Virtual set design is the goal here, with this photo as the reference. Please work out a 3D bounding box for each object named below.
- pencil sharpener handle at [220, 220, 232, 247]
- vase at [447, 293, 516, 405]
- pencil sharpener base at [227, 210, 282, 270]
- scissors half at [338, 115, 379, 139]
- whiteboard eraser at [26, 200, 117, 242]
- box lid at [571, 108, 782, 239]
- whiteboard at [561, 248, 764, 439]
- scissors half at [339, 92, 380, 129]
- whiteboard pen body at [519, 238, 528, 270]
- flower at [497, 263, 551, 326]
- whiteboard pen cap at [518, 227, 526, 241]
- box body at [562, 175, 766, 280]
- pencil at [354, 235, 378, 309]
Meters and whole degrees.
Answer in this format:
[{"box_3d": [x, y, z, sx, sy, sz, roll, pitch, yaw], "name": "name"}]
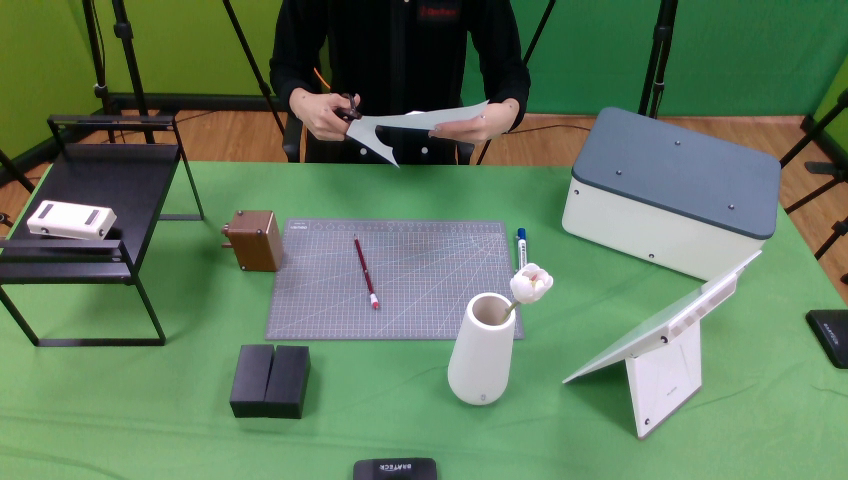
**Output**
[{"box_3d": [-0.362, -0.009, 1.105, 0.030, 0.068, 0.036, 1, 52, 1], "name": "pencil sharpener handle"}, {"box_3d": [0.091, 0.169, 0.921, 0.098, 0.201, 0.097, 3, 47, -3], "name": "vase"}, {"box_3d": [-0.311, 0.001, 1.112, 0.077, 0.107, 0.061, 1, 47, 1], "name": "pencil sharpener base"}, {"box_3d": [-0.114, -0.199, 1.050, 0.013, 0.040, 0.174, -5, 6, -28], "name": "scissors half"}, {"box_3d": [-0.532, -0.026, 0.919, 0.113, 0.042, 0.055, 7, 45, 3], "name": "whiteboard eraser"}, {"box_3d": [0.491, -0.139, 1.168, 0.370, 0.015, 0.262, 20, 49, 15], "name": "box lid"}, {"box_3d": [0.386, 0.176, 0.905, 0.217, 0.306, 0.143, -26, 72, -27], "name": "whiteboard"}, {"box_3d": [-0.113, -0.220, 1.044, 0.013, 0.040, 0.174, -10, 32, -26], "name": "scissors half"}, {"box_3d": [0.193, 0.035, 1.180, 0.017, 0.017, 0.140, 6, 48, 1], "name": "whiteboard pen body"}, {"box_3d": [0.102, 0.121, 0.852, 0.044, 0.363, 0.038, -1, 64, -10], "name": "flower"}, {"box_3d": [0.197, -0.009, 1.220, 0.018, 0.018, 0.033, 5, 51, 1], "name": "whiteboard pen cap"}, {"box_3d": [0.486, -0.088, 1.222, 0.363, 0.161, 0.253, 20, 48, 15], "name": "box body"}, {"box_3d": [-0.112, 0.055, 1.143, 0.012, 0.012, 0.192, -10, 46, -13], "name": "pencil"}]
